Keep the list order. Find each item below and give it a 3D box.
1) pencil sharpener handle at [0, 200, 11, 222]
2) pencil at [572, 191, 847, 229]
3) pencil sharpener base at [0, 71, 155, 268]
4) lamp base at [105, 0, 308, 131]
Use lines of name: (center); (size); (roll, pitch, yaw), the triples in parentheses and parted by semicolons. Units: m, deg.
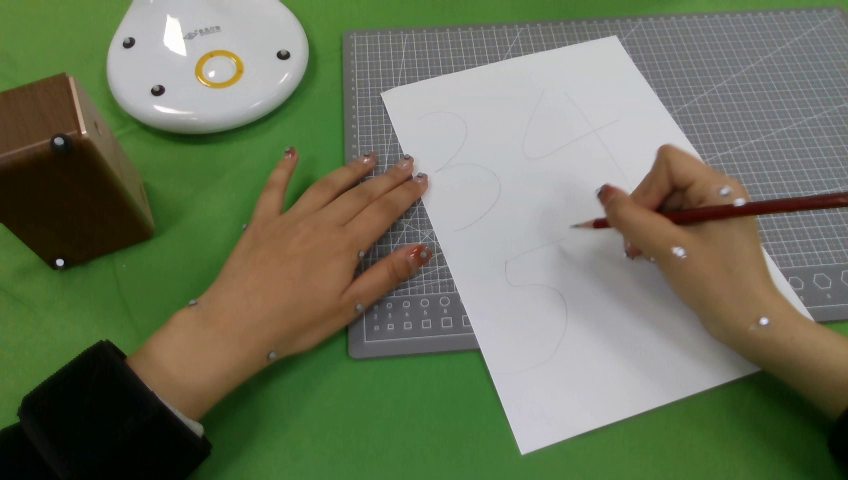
pencil sharpener handle: (-0.277, -0.027, 0.359); (0.031, 0.068, 0.035); (-23, 64, -12)
pencil: (0.167, -0.016, 0.340); (0.193, 0.012, 0.012); (-6, 47, 46)
pencil sharpener base: (-0.230, -0.039, 0.381); (0.077, 0.108, 0.061); (-22, 62, -12)
lamp base: (-0.184, -0.200, 0.434); (0.160, 0.182, 0.177); (-32, 62, -18)
